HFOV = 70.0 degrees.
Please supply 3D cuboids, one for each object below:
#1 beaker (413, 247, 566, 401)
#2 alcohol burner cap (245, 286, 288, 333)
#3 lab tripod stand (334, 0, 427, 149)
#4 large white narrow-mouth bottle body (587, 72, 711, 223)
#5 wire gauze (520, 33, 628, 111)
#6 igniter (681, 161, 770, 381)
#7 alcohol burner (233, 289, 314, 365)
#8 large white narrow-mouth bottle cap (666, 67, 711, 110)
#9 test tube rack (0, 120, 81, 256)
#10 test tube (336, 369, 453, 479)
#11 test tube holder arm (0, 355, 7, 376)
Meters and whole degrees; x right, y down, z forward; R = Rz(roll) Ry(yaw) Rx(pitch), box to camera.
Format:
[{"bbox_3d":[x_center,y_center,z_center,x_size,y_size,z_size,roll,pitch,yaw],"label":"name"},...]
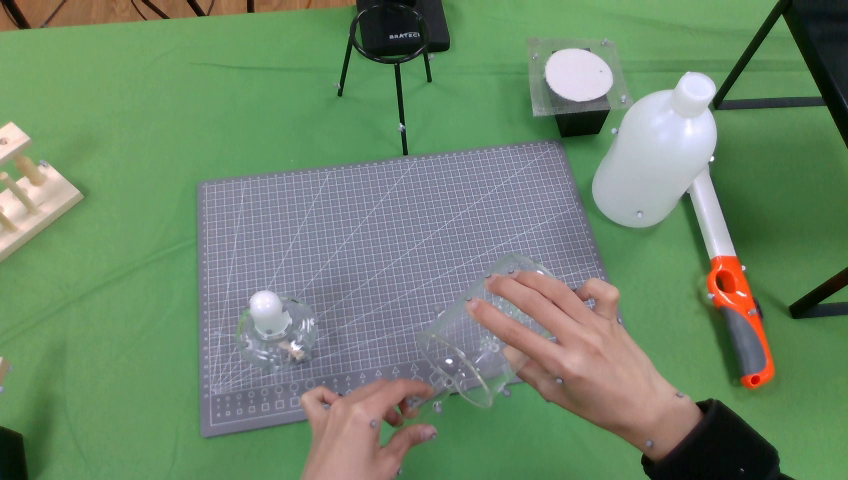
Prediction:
[{"bbox_3d":[0.052,0.061,0.460,0.073,0.084,0.100,41,68,17],"label":"beaker"},{"bbox_3d":[-0.146,0.062,0.554,0.034,0.048,0.033,0,58,0],"label":"alcohol burner cap"},{"bbox_3d":[-0.043,-0.205,0.727,0.148,0.132,0.147,2,64,-4],"label":"lab tripod stand"},{"bbox_3d":[0.250,-0.105,0.658,0.102,0.196,0.101,1,62,-2],"label":"large white narrow-mouth bottle body"},{"bbox_3d":[0.185,-0.213,0.759,0.121,0.011,0.124,-1,63,-4],"label":"wire gauze"},{"bbox_3d":[0.337,0.024,0.692,0.057,0.025,0.274,2,62,-14],"label":"igniter"},{"bbox_3d":[-0.148,0.078,0.586,0.078,0.120,0.077,2,61,-4],"label":"alcohol burner"},{"bbox_3d":[0.253,-0.146,0.582,0.038,0.024,0.037,1,63,-2],"label":"large white narrow-mouth bottle cap"},{"bbox_3d":[-0.498,-0.010,0.629,0.066,0.086,0.242,37,67,15],"label":"test tube rack"},{"bbox_3d":[-0.028,0.160,0.502,0.017,0.017,0.150,48,111,19],"label":"test tube"},{"bbox_3d":[-0.403,0.185,0.521,0.013,0.015,0.177,2,63,6],"label":"test tube holder arm"}]
